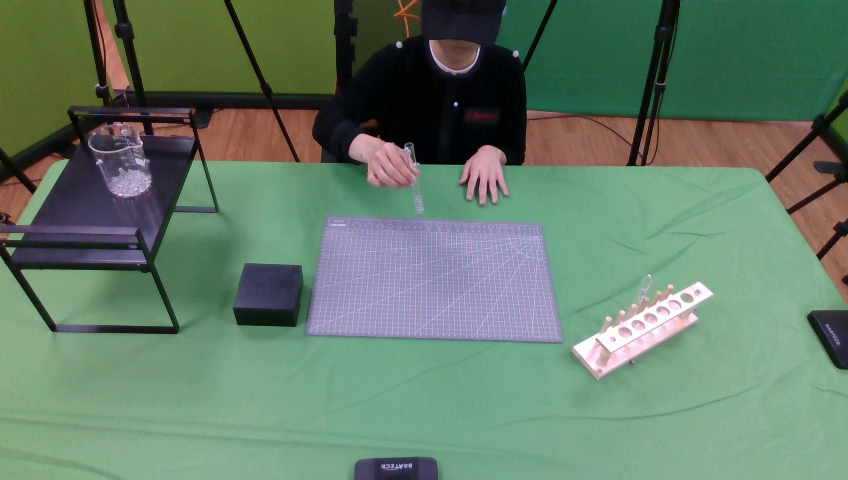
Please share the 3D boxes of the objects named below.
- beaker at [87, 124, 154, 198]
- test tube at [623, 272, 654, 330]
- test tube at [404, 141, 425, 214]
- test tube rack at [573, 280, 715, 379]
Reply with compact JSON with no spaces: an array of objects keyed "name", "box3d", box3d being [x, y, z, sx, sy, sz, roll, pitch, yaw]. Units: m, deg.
[{"name":"beaker","box3d":[-0.482,-0.124,0.978,0.084,0.101,0.073,9,46,4]},{"name":"test tube","box3d":[0.356,0.104,1.010,0.017,0.151,0.017,1,46,-1]},{"name":"test tube","box3d":[-0.015,-0.106,1.054,0.017,0.151,0.017,-6,41,6]},{"name":"test tube rack","box3d":[0.378,0.140,1.038,0.242,0.085,0.066,-22,51,-23]}]
